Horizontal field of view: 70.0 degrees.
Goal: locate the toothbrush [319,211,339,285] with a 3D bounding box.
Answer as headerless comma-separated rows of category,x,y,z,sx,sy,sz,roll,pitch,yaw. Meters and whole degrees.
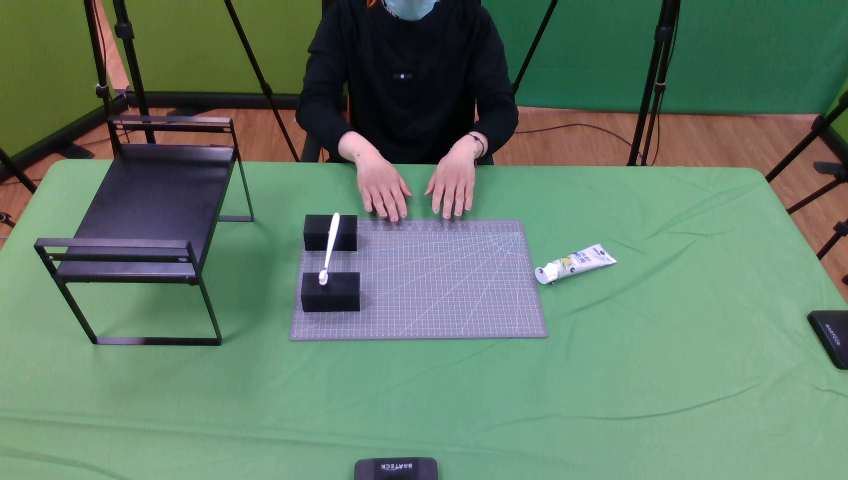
toothbrush,-0.172,0.009,1.103,0.014,0.017,0.180,-7,44,10

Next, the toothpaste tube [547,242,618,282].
toothpaste tube,0.298,0.043,1.169,0.165,0.034,0.054,-18,56,-24

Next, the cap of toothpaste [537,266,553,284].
cap of toothpaste,0.227,0.064,1.136,0.011,0.037,0.037,-27,54,-26
